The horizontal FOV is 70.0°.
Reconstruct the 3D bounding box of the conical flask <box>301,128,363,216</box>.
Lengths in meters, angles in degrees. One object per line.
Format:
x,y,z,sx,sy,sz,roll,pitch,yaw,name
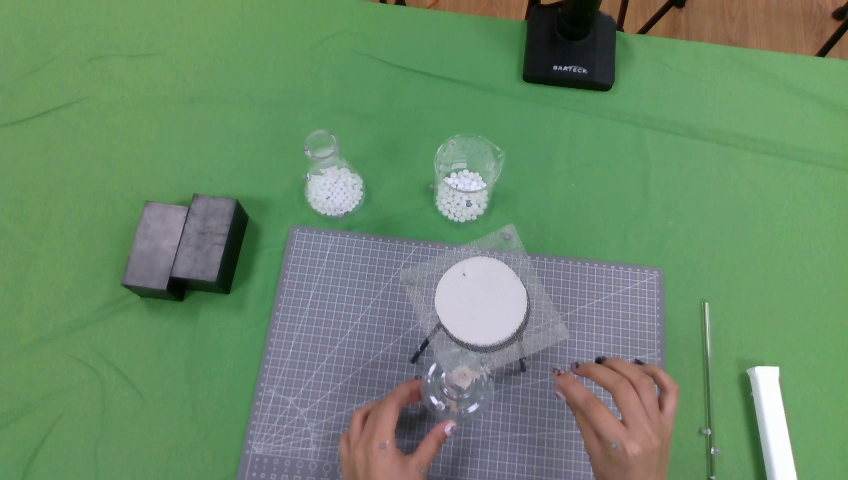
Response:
-0.111,-0.082,0.693,0.075,0.122,0.075,0,70,-1,conical flask

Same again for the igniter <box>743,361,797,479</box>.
0.375,0.266,0.634,0.057,0.025,0.274,4,71,-11,igniter

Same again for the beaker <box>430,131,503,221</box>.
0.047,-0.071,0.706,0.084,0.101,0.073,-19,72,-8,beaker

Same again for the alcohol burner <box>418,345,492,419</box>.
0.033,0.142,0.620,0.078,0.120,0.077,1,68,-2,alcohol burner

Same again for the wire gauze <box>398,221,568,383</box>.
0.054,0.056,0.568,0.125,0.011,0.120,-22,74,-8,wire gauze

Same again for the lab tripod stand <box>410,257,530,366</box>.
0.052,0.083,0.630,0.148,0.132,0.147,0,72,-1,lab tripod stand

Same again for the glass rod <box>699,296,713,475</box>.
0.317,0.158,0.681,0.008,0.008,0.198,6,71,0,glass rod
